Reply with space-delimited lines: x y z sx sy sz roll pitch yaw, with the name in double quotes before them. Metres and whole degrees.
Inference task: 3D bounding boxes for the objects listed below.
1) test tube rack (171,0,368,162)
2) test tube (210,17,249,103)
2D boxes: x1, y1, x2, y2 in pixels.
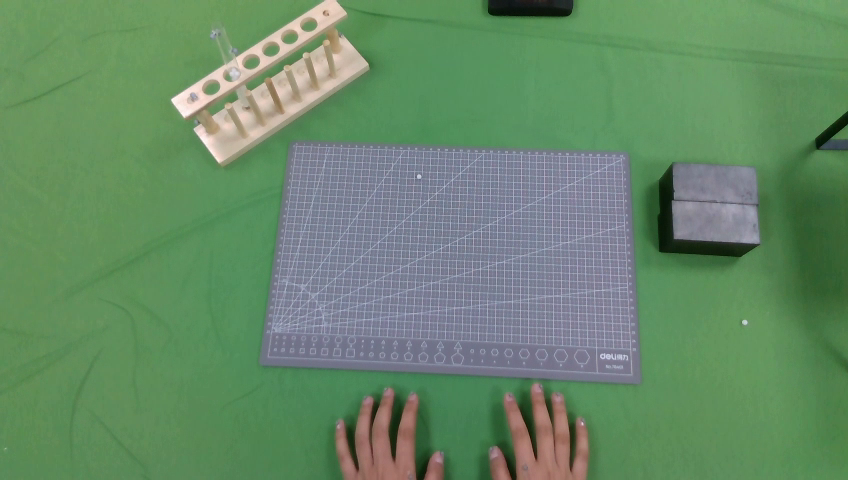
"test tube rack" -0.194 -0.211 0.791 0.242 0.086 0.066 -37 74 -10
"test tube" -0.234 -0.216 0.742 0.017 0.151 0.017 1 68 -3
